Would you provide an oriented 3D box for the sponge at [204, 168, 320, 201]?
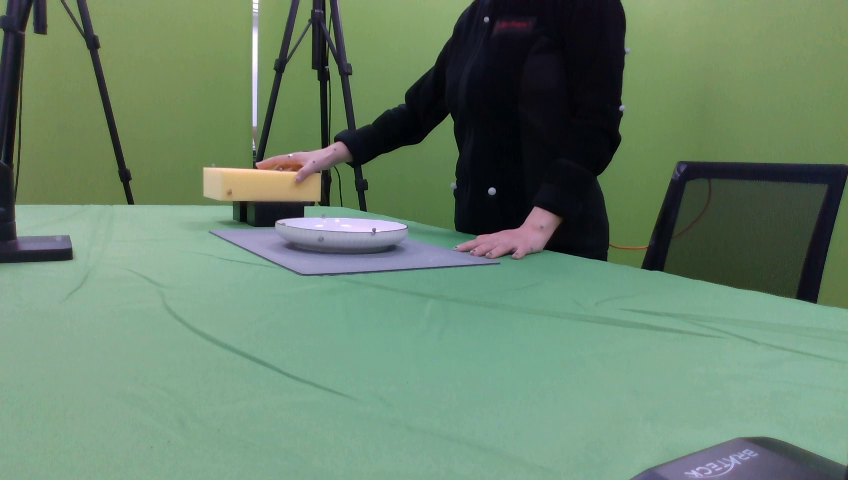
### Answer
[{"bbox_3d":[-0.333,-0.114,1.247,0.208,0.061,0.117,-3,9,-37],"label":"sponge"}]

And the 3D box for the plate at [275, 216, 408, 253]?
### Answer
[{"bbox_3d":[-0.129,-0.009,0.954,0.209,0.038,0.209,2,7,0],"label":"plate"}]
